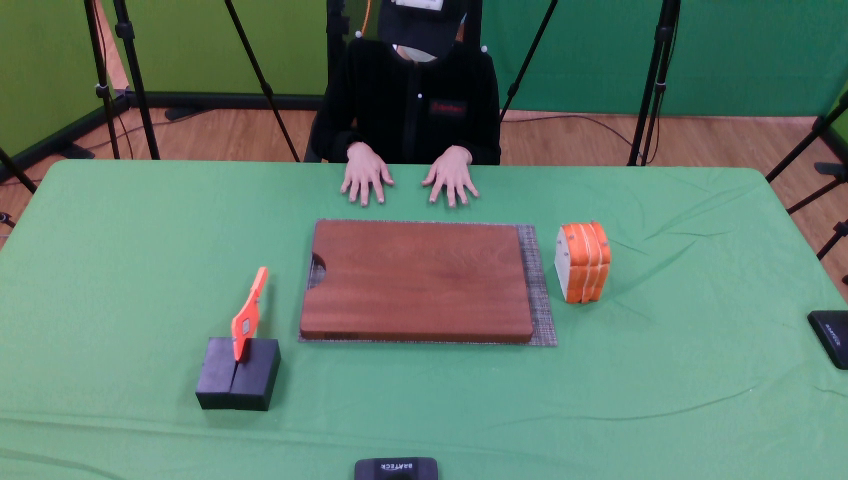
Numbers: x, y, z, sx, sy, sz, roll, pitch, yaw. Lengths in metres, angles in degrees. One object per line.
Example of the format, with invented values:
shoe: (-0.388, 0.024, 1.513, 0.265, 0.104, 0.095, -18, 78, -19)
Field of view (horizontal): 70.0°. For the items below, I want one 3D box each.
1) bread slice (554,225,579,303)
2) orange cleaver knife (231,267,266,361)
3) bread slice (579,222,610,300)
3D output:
bread slice: (0.260, 0.036, 1.109, 0.019, 0.132, 0.104, -6, 45, 1)
orange cleaver knife: (-0.292, 0.119, 1.019, 0.012, 0.077, 0.210, -1, 27, 0)
bread slice: (0.313, 0.035, 1.111, 0.018, 0.135, 0.106, -7, 52, -2)
